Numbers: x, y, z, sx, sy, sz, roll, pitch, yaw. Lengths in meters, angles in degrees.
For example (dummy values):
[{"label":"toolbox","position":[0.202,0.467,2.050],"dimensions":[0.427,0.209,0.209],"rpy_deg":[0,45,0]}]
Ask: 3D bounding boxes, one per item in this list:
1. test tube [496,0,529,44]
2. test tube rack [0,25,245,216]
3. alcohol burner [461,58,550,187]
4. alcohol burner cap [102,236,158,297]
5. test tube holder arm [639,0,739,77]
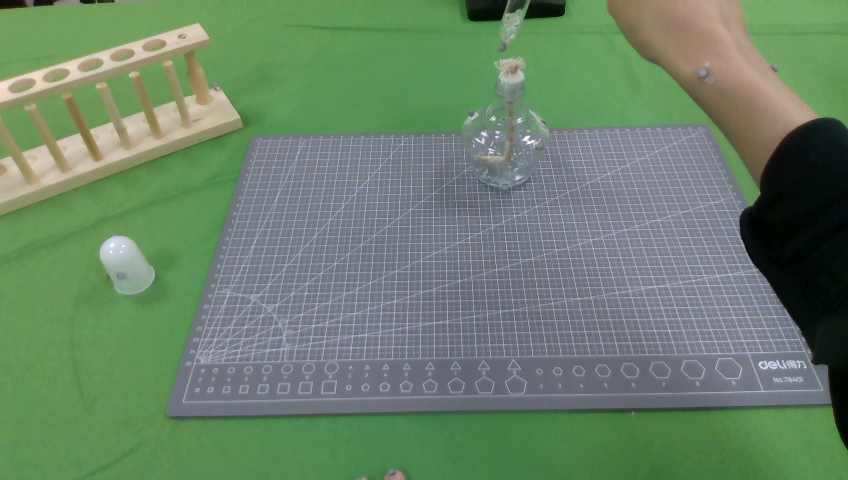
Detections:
[{"label":"test tube","position":[0.078,-0.202,0.412],"dimensions":[0.017,0.151,0.017],"rpy_deg":[9,47,-9]},{"label":"test tube rack","position":[-0.304,-0.114,0.565],"dimensions":[0.242,0.086,0.066],"rpy_deg":[-25,52,-19]},{"label":"alcohol burner","position":[0.071,-0.104,0.518],"dimensions":[0.078,0.120,0.077],"rpy_deg":[0,49,0]},{"label":"alcohol burner cap","position":[-0.233,0.018,0.475],"dimensions":[0.034,0.048,0.033],"rpy_deg":[-1,48,1]},{"label":"test tube holder arm","position":[0.129,-0.168,0.384],"dimensions":[0.013,0.015,0.177],"rpy_deg":[-33,75,-33]}]
